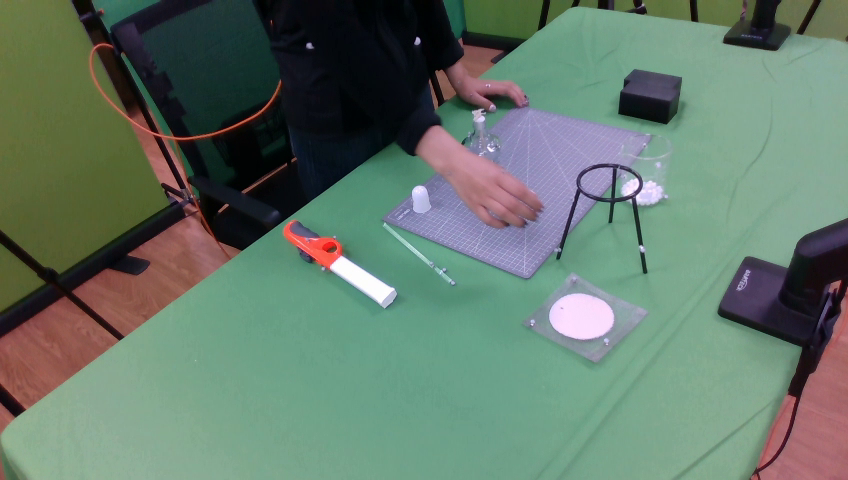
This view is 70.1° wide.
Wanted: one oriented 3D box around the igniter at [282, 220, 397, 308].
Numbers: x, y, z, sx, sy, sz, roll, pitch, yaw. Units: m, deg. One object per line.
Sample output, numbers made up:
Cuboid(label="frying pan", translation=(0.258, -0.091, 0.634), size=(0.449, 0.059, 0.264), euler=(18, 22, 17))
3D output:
Cuboid(label="igniter", translation=(-0.145, 0.032, 0.966), size=(0.274, 0.025, 0.057), euler=(30, 65, 37))

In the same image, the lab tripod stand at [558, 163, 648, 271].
Cuboid(label="lab tripod stand", translation=(0.271, -0.034, 0.885), size=(0.148, 0.132, 0.147), euler=(-4, 40, 4))

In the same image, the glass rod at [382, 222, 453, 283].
Cuboid(label="glass rod", translation=(-0.014, 0.016, 0.976), size=(0.008, 0.008, 0.198), euler=(-30, 44, -22))

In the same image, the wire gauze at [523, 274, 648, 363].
Cuboid(label="wire gauze", translation=(0.221, 0.105, 0.828), size=(0.125, 0.011, 0.120), euler=(-35, 47, -30))

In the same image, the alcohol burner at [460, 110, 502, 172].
Cuboid(label="alcohol burner", translation=(0.103, -0.186, 1.105), size=(0.078, 0.119, 0.077), euler=(-4, 42, 4))

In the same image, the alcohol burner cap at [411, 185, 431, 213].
Cuboid(label="alcohol burner cap", translation=(-0.007, -0.074, 1.050), size=(0.034, 0.048, 0.033), euler=(-5, 40, 4))

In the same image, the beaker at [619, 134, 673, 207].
Cuboid(label="beaker", translation=(0.357, -0.110, 0.986), size=(0.084, 0.101, 0.073), euler=(-10, 40, 1))
